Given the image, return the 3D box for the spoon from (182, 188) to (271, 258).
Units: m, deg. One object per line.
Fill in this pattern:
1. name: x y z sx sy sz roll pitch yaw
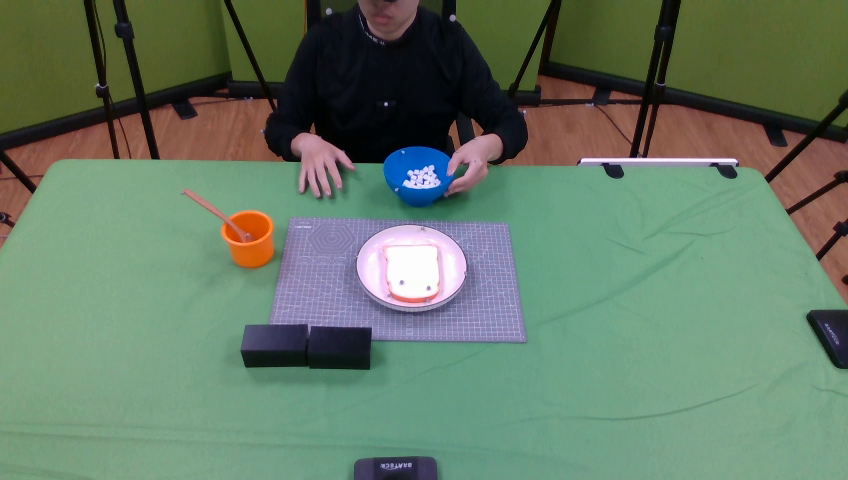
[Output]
1. spoon: -0.361 -0.032 1.113 0.021 0.194 0.041 -26 30 35

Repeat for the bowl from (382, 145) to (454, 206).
1. bowl: -0.014 -0.124 1.275 0.151 0.077 0.150 1 44 -1

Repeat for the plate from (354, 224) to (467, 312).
1. plate: -0.025 0.055 1.128 0.209 0.038 0.208 3 46 -2

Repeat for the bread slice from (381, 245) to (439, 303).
1. bread slice: -0.022 0.061 1.126 0.107 0.018 0.133 -3 45 -8
